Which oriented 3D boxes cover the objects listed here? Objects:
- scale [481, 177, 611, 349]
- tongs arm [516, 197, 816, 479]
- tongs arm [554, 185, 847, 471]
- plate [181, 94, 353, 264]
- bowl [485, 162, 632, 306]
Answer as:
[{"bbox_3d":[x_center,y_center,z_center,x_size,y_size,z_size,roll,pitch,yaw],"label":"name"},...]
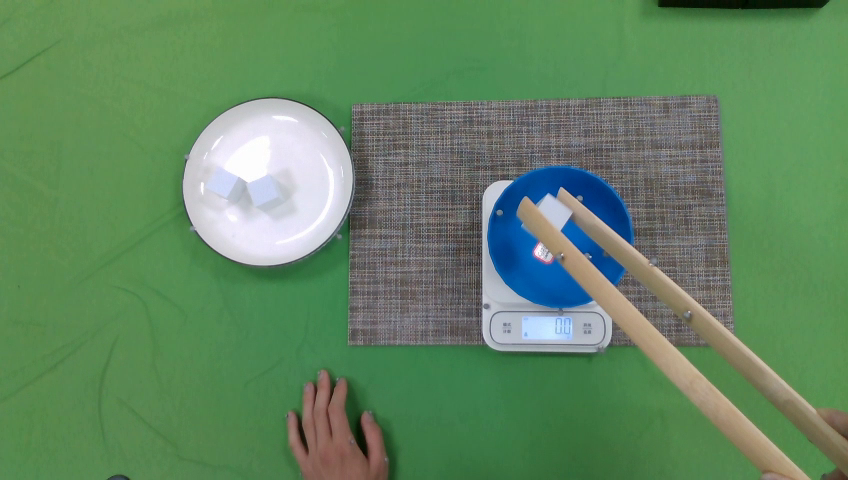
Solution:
[{"bbox_3d":[0.142,0.026,0.706,0.148,0.031,0.200,0,83,3],"label":"scale"},{"bbox_3d":[0.200,0.090,0.476,0.028,0.028,0.383,-18,52,-33],"label":"tongs arm"},{"bbox_3d":[0.225,0.081,0.491,0.051,0.027,0.381,-22,54,-31],"label":"tongs arm"},{"bbox_3d":[-0.187,-0.072,0.737,0.207,0.039,0.207,0,82,3],"label":"plate"},{"bbox_3d":[0.139,-0.002,0.657,0.151,0.077,0.151,0,83,2],"label":"bowl"}]
